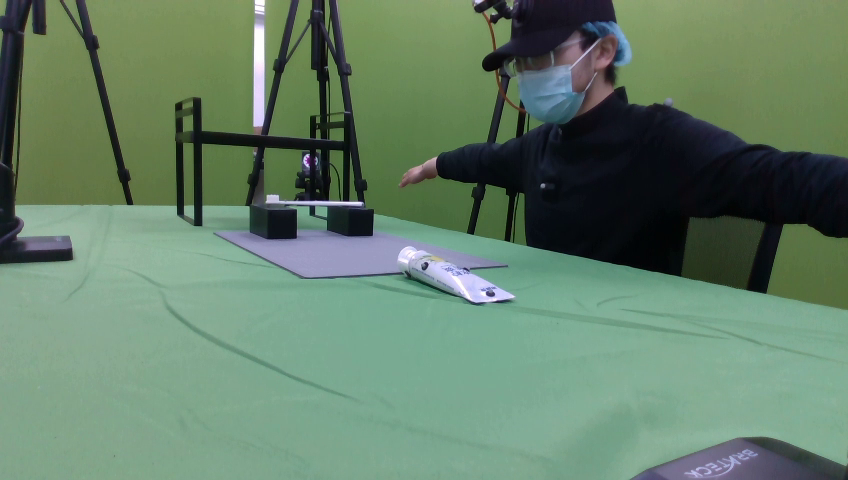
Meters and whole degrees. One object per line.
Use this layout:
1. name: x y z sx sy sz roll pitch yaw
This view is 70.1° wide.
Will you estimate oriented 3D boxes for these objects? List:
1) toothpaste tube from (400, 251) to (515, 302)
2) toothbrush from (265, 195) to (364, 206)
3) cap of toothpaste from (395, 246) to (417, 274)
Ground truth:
1. toothpaste tube: 0.026 0.042 0.673 0.055 0.034 0.164 -10 17 -34
2. toothbrush: -0.194 -0.069 1.089 0.183 0.016 0.014 0 -6 -27
3. cap of toothpaste: -0.018 0.025 0.738 0.037 0.037 0.011 -4 11 -41
